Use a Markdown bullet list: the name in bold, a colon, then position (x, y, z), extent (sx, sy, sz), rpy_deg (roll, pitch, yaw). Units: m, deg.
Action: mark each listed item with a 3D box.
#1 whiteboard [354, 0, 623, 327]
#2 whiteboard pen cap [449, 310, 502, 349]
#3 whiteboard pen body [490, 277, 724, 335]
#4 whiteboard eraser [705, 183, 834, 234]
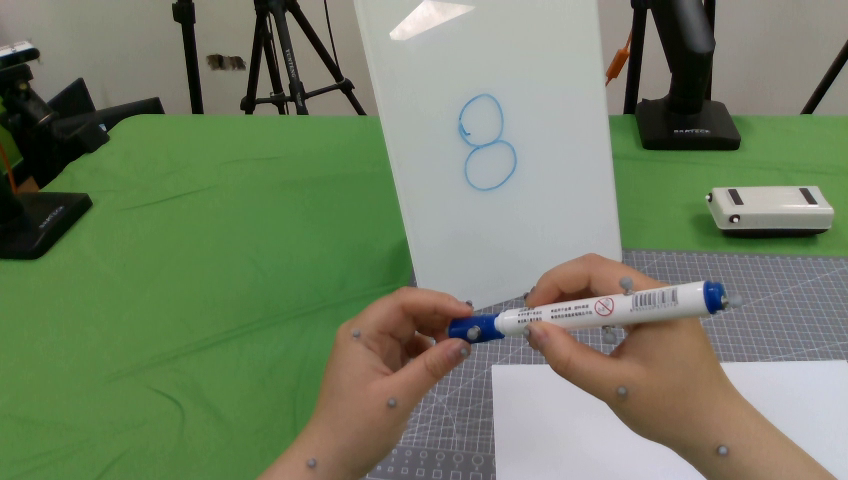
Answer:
- **whiteboard**: position (0.056, -0.105, 0.611), extent (0.217, 0.307, 0.142), rpy_deg (-16, 19, -12)
- **whiteboard pen cap**: position (0.032, 0.051, 0.356), extent (0.033, 0.018, 0.018), rpy_deg (-26, 27, 34)
- **whiteboard pen body**: position (0.080, 0.037, 0.313), extent (0.140, 0.017, 0.017), rpy_deg (-15, 27, 40)
- **whiteboard eraser**: position (0.365, -0.033, 0.646), extent (0.112, 0.042, 0.055), rpy_deg (1, 41, 7)
